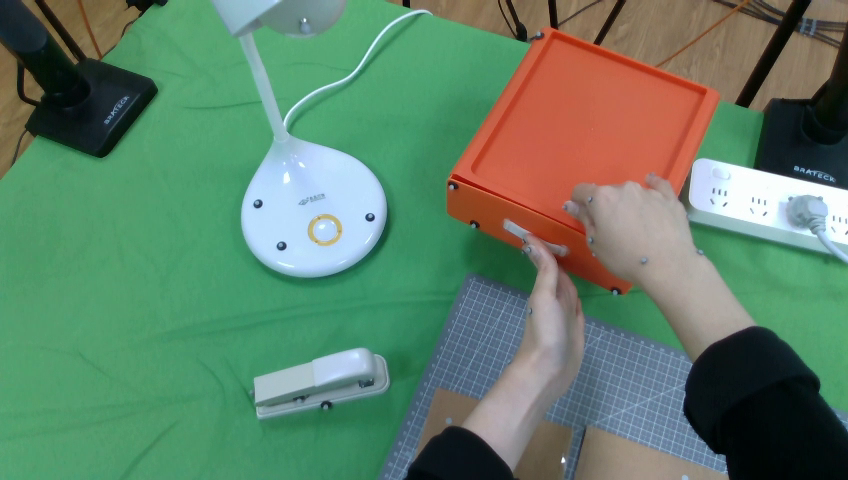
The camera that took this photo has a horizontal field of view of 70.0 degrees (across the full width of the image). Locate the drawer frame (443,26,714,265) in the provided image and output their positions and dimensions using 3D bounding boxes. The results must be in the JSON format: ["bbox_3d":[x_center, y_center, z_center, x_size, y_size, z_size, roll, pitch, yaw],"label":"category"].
[{"bbox_3d":[0.156,-0.090,0.620,0.201,0.083,0.213,26,67,13],"label":"drawer frame"}]

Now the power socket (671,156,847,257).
[{"bbox_3d":[0.386,-0.036,0.664,0.226,0.033,0.072,15,65,8],"label":"power socket"}]

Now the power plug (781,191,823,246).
[{"bbox_3d":[0.386,-0.020,0.629,0.035,0.053,0.072,25,66,12],"label":"power plug"}]

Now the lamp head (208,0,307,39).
[{"bbox_3d":[-0.095,-0.192,0.340,0.112,0.112,0.123,-38,107,-17],"label":"lamp head"}]

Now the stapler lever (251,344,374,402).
[{"bbox_3d":[-0.105,0.124,0.563,0.118,0.040,0.026,-12,59,-3],"label":"stapler lever"}]

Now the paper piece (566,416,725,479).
[{"bbox_3d":[0.189,0.244,0.534,0.135,0.004,0.135,20,65,11],"label":"paper piece"}]

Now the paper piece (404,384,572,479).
[{"bbox_3d":[0.054,0.213,0.552,0.135,0.009,0.137,15,65,12],"label":"paper piece"}]

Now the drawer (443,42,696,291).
[{"bbox_3d":[0.151,-0.082,0.613,0.193,0.074,0.211,25,65,13],"label":"drawer"}]

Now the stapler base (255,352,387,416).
[{"bbox_3d":[-0.102,0.135,0.586,0.131,0.024,0.041,-11,60,-4],"label":"stapler base"}]

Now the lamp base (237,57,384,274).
[{"bbox_3d":[-0.134,-0.080,0.608,0.160,0.182,0.177,-30,64,-14],"label":"lamp base"}]
